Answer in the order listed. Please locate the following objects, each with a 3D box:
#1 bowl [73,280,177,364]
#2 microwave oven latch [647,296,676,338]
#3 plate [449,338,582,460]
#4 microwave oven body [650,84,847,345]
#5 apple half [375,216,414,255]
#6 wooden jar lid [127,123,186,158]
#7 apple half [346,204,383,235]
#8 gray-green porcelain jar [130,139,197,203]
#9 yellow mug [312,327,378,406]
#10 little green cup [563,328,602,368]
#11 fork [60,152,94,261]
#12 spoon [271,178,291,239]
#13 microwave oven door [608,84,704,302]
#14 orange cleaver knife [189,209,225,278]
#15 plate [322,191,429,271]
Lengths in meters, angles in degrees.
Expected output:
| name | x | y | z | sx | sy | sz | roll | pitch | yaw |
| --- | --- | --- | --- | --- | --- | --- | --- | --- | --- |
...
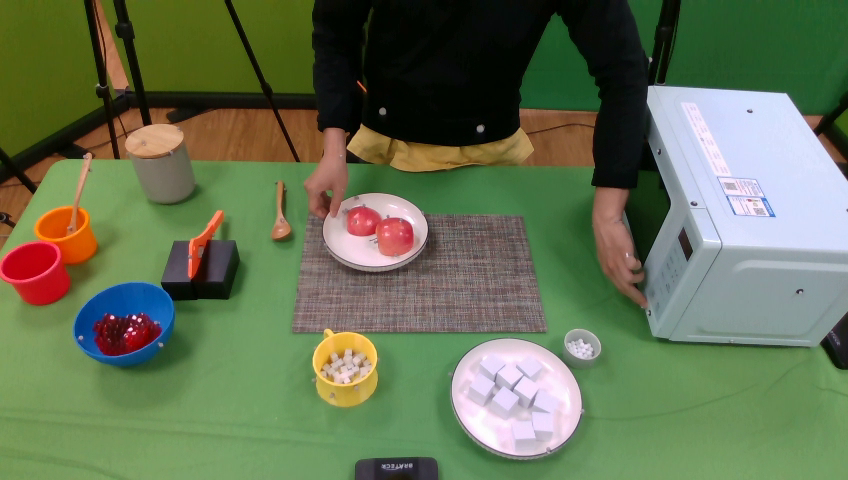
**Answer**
| name | x | y | z | sx | sy | sz | roll | pitch | yaw |
| --- | --- | --- | --- | --- | --- | --- | --- | --- | --- |
| bowl | -0.472 | 0.147 | 0.982 | 0.151 | 0.077 | 0.150 | 2 | 46 | -2 |
| microwave oven latch | 0.413 | 0.133 | 1.060 | 0.030 | 0.029 | 0.078 | 4 | 46 | 1 |
| plate | 0.141 | 0.251 | 0.956 | 0.208 | 0.039 | 0.206 | 2 | 46 | -2 |
| microwave oven body | 0.569 | -0.054 | 1.116 | 0.326 | 0.261 | 0.439 | 2 | 46 | -1 |
| apple half | -0.056 | -0.017 | 1.169 | 0.075 | 0.053 | 0.080 | 0 | 46 | -7 |
| wooden jar lid | -0.519 | -0.190 | 1.179 | 0.108 | 0.021 | 0.107 | 2 | 44 | -2 |
| apple half | -0.119 | -0.049 | 1.207 | 0.081 | 0.033 | 0.081 | 3 | 50 | -3 |
| gray-green porcelain jar | -0.522 | -0.148 | 1.225 | 0.106 | 0.127 | 0.105 | 2 | 47 | -2 |
| yellow mug | -0.132 | 0.193 | 0.971 | 0.100 | 0.064 | 0.130 | -22 | 51 | -22 |
| little green cup | 0.266 | 0.184 | 1.025 | 0.061 | 0.039 | 0.061 | 1 | 46 | -1 |
| fork | -0.638 | -0.063 | 1.119 | 0.028 | 0.018 | 0.207 | 12 | 90 | 8 |
| spoon | -0.292 | -0.068 | 1.237 | 0.041 | 0.022 | 0.192 | -19 | 48 | 7 |
| microwave oven door | 0.424 | -0.096 | 1.138 | 0.039 | 0.245 | 0.353 | 2 | 46 | -1 |
| orange cleaver knife | -0.400 | 0.002 | 1.122 | 0.012 | 0.077 | 0.210 | 4 | 23 | -4 |
| plate | -0.093 | -0.015 | 1.185 | 0.209 | 0.038 | 0.208 | 2 | 46 | -2 |
